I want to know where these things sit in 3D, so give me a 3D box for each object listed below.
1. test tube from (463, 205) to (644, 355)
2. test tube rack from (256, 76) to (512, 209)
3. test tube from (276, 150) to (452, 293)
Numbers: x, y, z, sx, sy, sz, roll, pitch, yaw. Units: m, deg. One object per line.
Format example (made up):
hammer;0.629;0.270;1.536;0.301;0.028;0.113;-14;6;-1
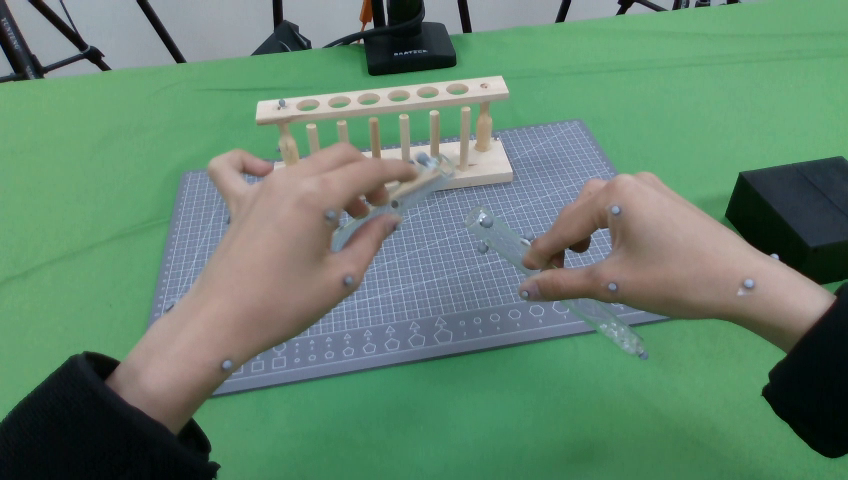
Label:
test tube;0.082;0.027;0.361;0.151;0.017;0.017;37;40;-21
test tube rack;-0.036;-0.098;0.605;0.242;0.086;0.066;-7;43;-4
test tube;-0.041;-0.006;0.357;0.150;0.017;0.017;-35;31;32
